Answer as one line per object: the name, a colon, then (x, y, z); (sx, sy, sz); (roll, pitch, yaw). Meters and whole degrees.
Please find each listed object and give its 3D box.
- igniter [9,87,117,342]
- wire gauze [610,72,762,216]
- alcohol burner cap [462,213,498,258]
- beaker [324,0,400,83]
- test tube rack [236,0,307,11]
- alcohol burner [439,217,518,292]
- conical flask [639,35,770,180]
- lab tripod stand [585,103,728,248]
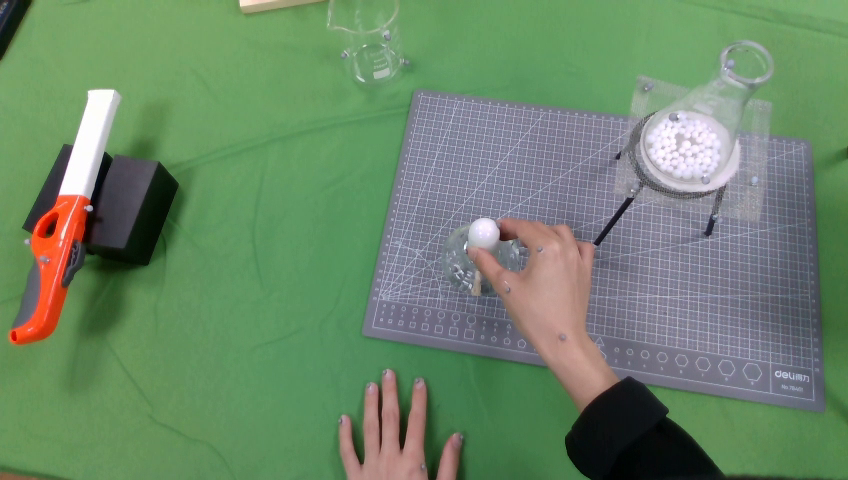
igniter: (-0.356, -0.034, 0.605); (0.057, 0.025, 0.274); (0, 68, 7)
wire gauze: (0.232, -0.085, 0.527); (0.121, 0.011, 0.124); (15, 68, 4)
alcohol burner cap: (0.051, -0.007, 0.545); (0.034, 0.048, 0.033); (-1, 68, 2)
beaker: (-0.067, -0.231, 0.683); (0.084, 0.101, 0.073); (-31, 71, -9)
test tube rack: (-0.120, -0.354, 0.738); (0.242, 0.086, 0.066); (-10, 69, -2)
alcohol burner: (0.053, 0.008, 0.579); (0.078, 0.120, 0.077); (0, 68, 0)
conical flask: (0.221, -0.104, 0.471); (0.075, 0.122, 0.075); (0, 69, 1)
lab tripod stand: (0.226, -0.059, 0.588); (0.148, 0.132, 0.147); (0, 68, 0)
